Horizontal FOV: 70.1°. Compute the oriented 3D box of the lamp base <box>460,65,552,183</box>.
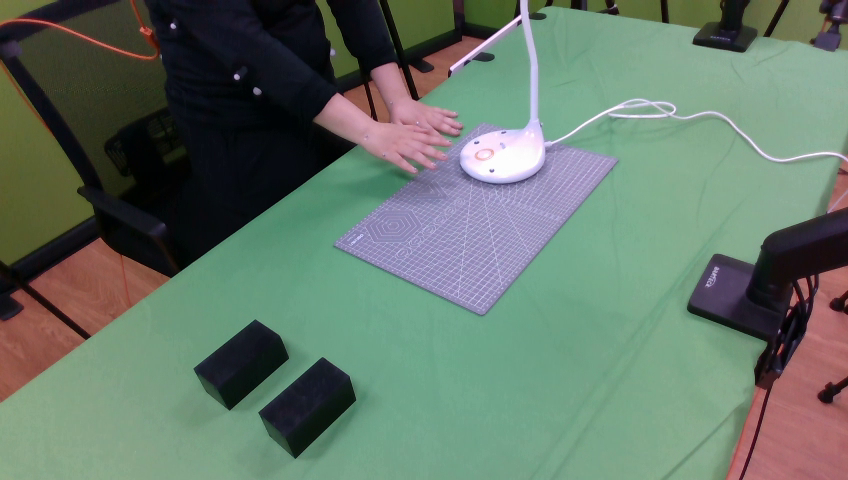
[{"bbox_3d":[0.149,-0.218,1.078,0.180,0.181,0.159,-19,41,-17],"label":"lamp base"}]
